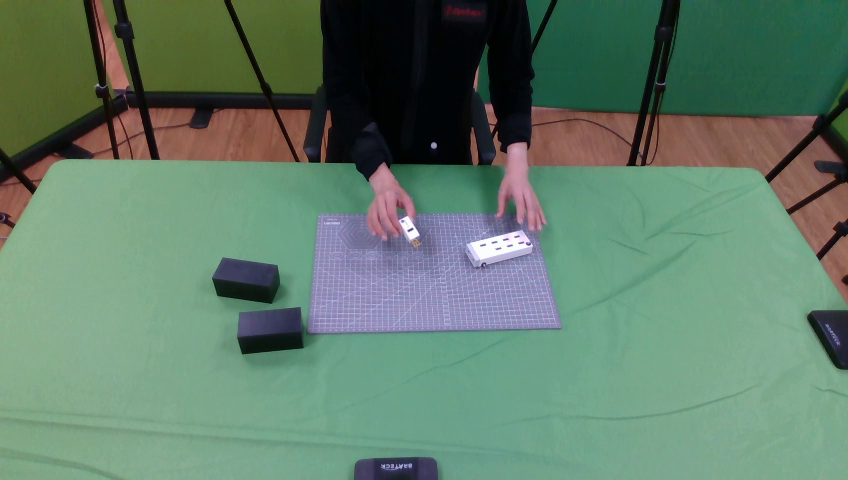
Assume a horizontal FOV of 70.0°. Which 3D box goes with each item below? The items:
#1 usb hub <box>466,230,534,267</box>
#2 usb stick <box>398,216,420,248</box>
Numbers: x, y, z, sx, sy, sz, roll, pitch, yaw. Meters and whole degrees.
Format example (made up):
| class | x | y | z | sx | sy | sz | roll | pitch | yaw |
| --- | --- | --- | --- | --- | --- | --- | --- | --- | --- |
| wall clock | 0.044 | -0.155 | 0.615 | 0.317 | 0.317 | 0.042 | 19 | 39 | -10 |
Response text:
| class | x | y | z | sx | sy | sz | roll | pitch | yaw |
| --- | --- | --- | --- | --- | --- | --- | --- | --- | --- |
| usb hub | 0.148 | 0.017 | 1.185 | 0.125 | 0.025 | 0.049 | -14 | 49 | -16 |
| usb stick | -0.025 | -0.013 | 1.128 | 0.021 | 0.027 | 0.059 | -28 | 82 | -14 |
